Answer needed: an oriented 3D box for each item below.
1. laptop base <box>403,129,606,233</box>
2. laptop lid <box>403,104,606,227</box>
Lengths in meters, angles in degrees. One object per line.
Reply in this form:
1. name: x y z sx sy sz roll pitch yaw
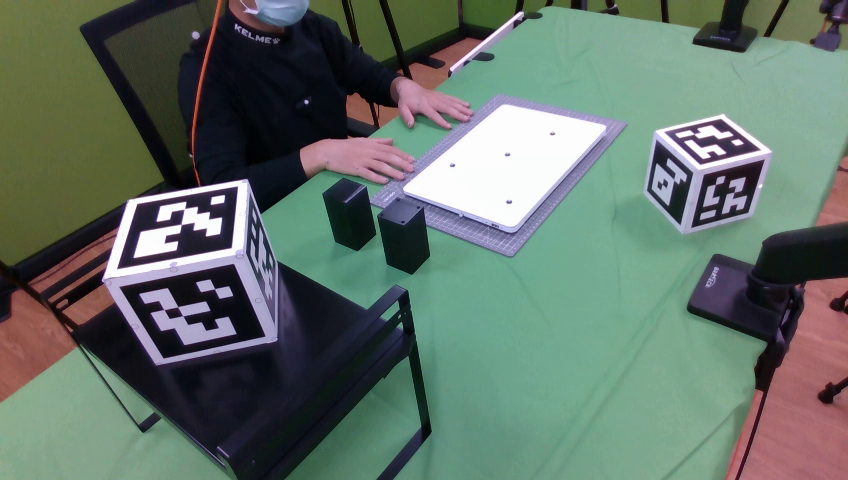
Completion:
1. laptop base: 0.156 -0.144 1.117 0.233 0.023 0.355 20 47 32
2. laptop lid: 0.153 -0.154 1.110 0.239 0.013 0.358 22 48 33
